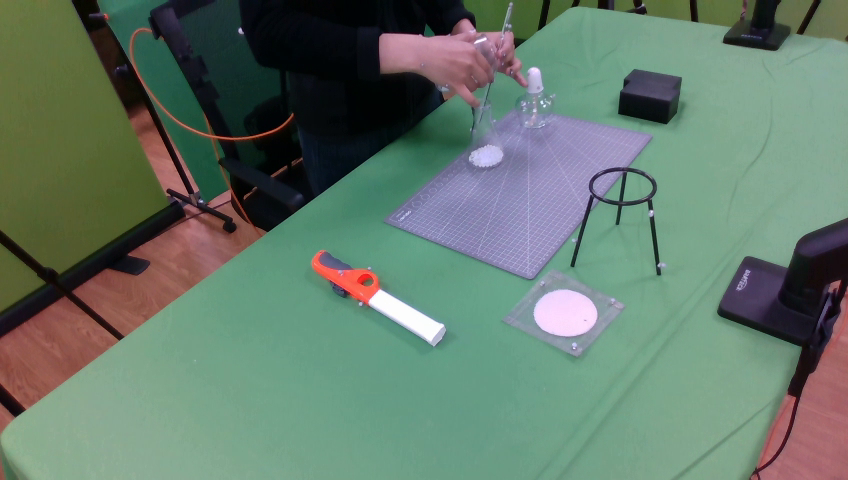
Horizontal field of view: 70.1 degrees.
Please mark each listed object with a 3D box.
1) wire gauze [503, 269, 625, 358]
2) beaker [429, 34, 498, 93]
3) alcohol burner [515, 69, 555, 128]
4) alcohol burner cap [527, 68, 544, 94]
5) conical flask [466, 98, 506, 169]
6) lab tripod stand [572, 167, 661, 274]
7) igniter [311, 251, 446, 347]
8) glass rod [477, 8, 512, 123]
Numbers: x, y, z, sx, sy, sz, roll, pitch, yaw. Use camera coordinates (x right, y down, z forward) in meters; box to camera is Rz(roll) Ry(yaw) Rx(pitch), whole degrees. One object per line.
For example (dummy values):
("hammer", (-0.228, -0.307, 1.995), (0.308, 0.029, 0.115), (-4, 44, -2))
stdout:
("wire gauze", (0.194, 0.100, 0.840), (0.120, 0.011, 0.125), (27, 54, 36))
("beaker", (0.066, -0.296, 1.031), (0.100, 0.084, 0.073), (-20, 37, -7))
("alcohol burner", (0.221, -0.285, 1.203), (0.078, 0.119, 0.077), (-4, 39, 4))
("alcohol burner cap", (0.216, -0.312, 1.179), (0.034, 0.048, 0.033), (-9, 40, 8))
("conical flask", (0.111, -0.199, 1.116), (0.075, 0.122, 0.075), (-5, 41, 5))
("lab tripod stand", (0.284, -0.030, 0.879), (0.148, 0.132, 0.147), (-7, 38, 6))
("igniter", (-0.078, 0.081, 0.899), (0.274, 0.025, 0.057), (27, 62, 35))
("glass rod", (0.123, -0.302, 1.058), (0.008, 0.200, 0.008), (13, 22, -5))
